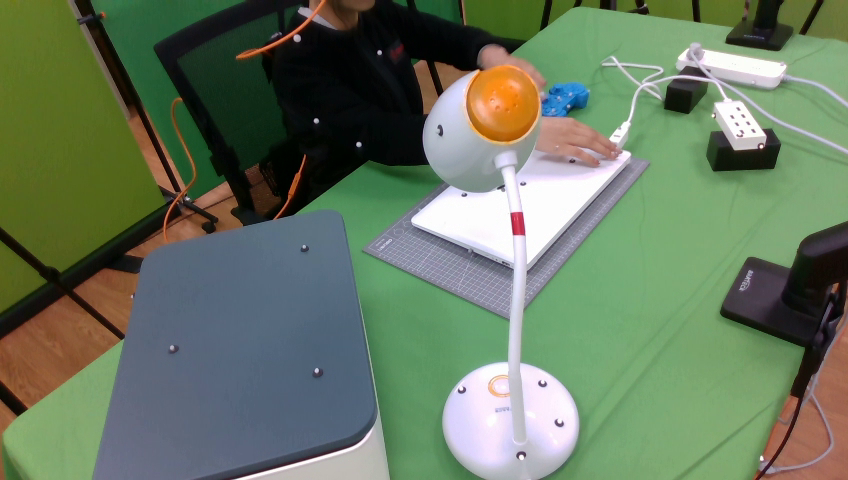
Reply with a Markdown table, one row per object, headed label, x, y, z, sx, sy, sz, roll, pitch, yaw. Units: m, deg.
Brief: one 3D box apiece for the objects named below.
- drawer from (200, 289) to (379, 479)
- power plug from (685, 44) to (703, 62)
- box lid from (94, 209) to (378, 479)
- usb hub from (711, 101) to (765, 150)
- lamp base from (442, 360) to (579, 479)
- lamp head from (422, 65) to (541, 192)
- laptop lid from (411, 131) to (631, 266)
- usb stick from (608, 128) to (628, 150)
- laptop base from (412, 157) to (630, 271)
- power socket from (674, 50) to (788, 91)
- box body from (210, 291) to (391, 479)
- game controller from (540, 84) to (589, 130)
| label | x | y | z | sx | sy | sz | roll | pitch | yaw |
| --- | --- | --- | --- | --- | --- | --- | --- | --- | --- |
| drawer | -0.172 | 0.176 | 0.760 | 0.195 | 0.073 | 0.210 | -13 | 42 | -8 |
| power plug | 0.568 | -0.390 | 1.294 | 0.073 | 0.053 | 0.035 | -33 | 46 | -22 |
| box lid | -0.202 | 0.094 | 0.680 | 0.264 | 0.015 | 0.368 | -13 | 39 | -5 |
| usb hub | 0.537 | -0.198 | 1.038 | 0.049 | 0.025 | 0.124 | -4 | 39 | 8 |
| lamp base | 0.094 | 0.158 | 0.657 | 0.161 | 0.181 | 0.178 | -13 | 42 | -5 |
| lamp head | 0.060 | -0.106 | 0.560 | 0.113 | 0.112 | 0.122 | -16 | 1 | -8 |
| laptop lid | 0.172 | -0.093 | 1.049 | 0.239 | 0.013 | 0.358 | 24 | 50 | 36 |
| usb stick | 0.353 | -0.178 | 1.110 | 0.021 | 0.027 | 0.059 | 21 | 57 | 30 |
| laptop base | 0.175 | -0.084 | 1.055 | 0.233 | 0.023 | 0.355 | 21 | 48 | 36 |
| power socket | 0.646 | -0.363 | 1.284 | 0.225 | 0.033 | 0.072 | 25 | 52 | 34 |
| box body | -0.190 | 0.161 | 0.723 | 0.255 | 0.161 | 0.361 | -13 | 40 | -5 |
| game controller | 0.273 | -0.283 | 1.251 | 0.096 | 0.052 | 0.155 | 27 | 52 | 29 |
